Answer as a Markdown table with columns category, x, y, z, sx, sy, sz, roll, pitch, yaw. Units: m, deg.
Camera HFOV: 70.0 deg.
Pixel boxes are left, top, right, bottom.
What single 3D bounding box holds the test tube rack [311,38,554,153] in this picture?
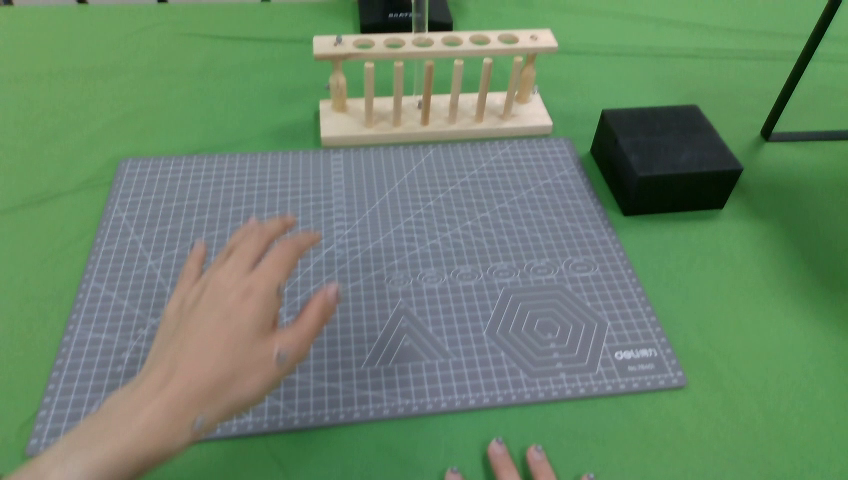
| category | x | y | z | sx | sy | sz | roll | pitch | yaw |
| --- | --- | --- | --- | --- | --- | --- | --- | --- | --- |
| test tube rack | 0.010 | -0.150 | 0.625 | 0.243 | 0.086 | 0.066 | -4 | 46 | -8 |

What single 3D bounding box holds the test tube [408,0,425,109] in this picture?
| category | x | y | z | sx | sy | sz | roll | pitch | yaw |
| --- | --- | --- | --- | --- | --- | --- | --- | --- | --- |
| test tube | -0.007 | -0.197 | 0.599 | 0.017 | 0.151 | 0.017 | 0 | 43 | 0 |
